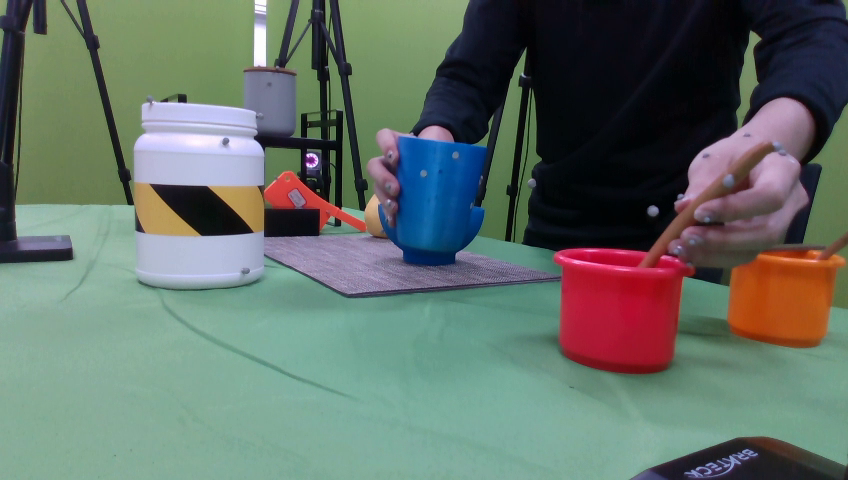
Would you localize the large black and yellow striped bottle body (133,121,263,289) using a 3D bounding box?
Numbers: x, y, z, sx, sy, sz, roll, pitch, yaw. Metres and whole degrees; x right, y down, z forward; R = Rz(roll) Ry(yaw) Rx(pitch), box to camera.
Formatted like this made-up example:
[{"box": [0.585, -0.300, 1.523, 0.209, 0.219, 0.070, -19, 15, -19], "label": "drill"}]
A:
[{"box": [-0.243, -0.048, 0.659, 0.131, 0.184, 0.130, 2, 7, 0], "label": "large black and yellow striped bottle body"}]

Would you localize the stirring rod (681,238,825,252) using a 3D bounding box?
[{"box": [0.290, 0.004, 0.524, 0.177, 0.006, 0.014, -2, 9, -26], "label": "stirring rod"}]

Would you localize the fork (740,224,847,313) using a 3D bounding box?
[{"box": [0.323, 0.013, 0.485, 0.028, 0.018, 0.207, 9, -37, -5], "label": "fork"}]

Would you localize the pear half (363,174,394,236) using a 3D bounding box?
[{"box": [-0.064, -0.061, 1.077, 0.055, 0.110, 0.077, 9, 14, 39], "label": "pear half"}]

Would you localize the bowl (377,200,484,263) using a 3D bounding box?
[{"box": [0.008, -0.012, 0.842, 0.151, 0.077, 0.151, 2, 8, 0], "label": "bowl"}]

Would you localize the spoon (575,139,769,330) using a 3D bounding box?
[{"box": [0.160, 0.006, 0.410, 0.042, 0.193, 0.021, 9, 41, -19], "label": "spoon"}]

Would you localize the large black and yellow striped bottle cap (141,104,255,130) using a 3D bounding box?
[{"box": [-0.241, -0.131, 0.650, 0.115, 0.019, 0.115, 3, 8, 0], "label": "large black and yellow striped bottle cap"}]

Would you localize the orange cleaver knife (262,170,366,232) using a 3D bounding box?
[{"box": [-0.201, -0.056, 1.136, 0.212, 0.077, 0.012, 31, -4, -31], "label": "orange cleaver knife"}]

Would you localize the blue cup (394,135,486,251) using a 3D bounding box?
[{"box": [0.010, -0.044, 0.569, 0.093, 0.100, 0.092, 6, 9, -1], "label": "blue cup"}]

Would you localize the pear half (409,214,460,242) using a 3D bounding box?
[{"box": [0.012, -0.019, 0.848, 0.070, 0.031, 0.088, 4, 12, 33], "label": "pear half"}]

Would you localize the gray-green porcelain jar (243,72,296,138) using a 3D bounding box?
[{"box": [-0.322, -0.279, 1.263, 0.106, 0.126, 0.106, 3, 8, 0], "label": "gray-green porcelain jar"}]

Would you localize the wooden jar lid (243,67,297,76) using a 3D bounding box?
[{"box": [-0.319, -0.342, 1.254, 0.108, 0.020, 0.108, 3, 8, 0], "label": "wooden jar lid"}]
